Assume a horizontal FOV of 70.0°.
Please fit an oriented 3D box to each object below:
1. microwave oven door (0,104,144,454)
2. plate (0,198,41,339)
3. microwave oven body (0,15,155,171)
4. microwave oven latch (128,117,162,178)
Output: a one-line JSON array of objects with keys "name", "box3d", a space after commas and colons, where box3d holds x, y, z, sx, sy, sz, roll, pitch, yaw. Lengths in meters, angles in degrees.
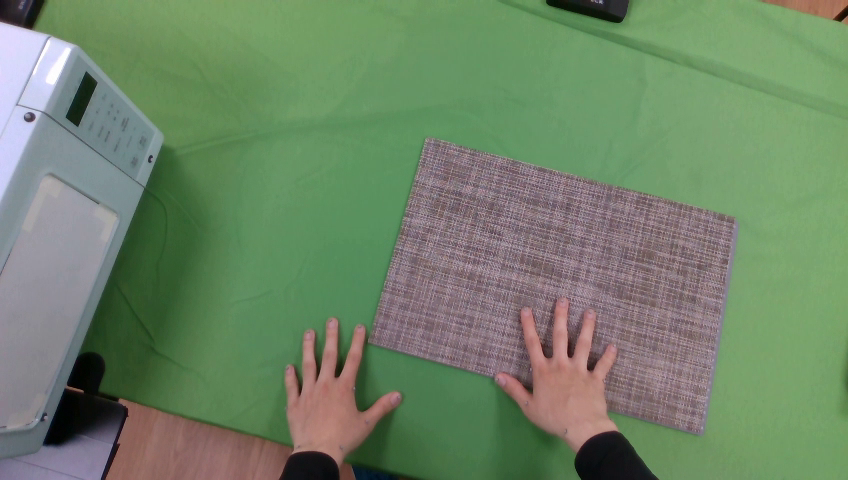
[{"name": "microwave oven door", "box3d": [-0.435, 0.059, 0.663, 0.039, 0.244, 0.354, 15, 78, 2]}, {"name": "plate", "box3d": [-0.562, 0.039, 0.726, 0.209, 0.038, 0.208, 1, 80, -3]}, {"name": "microwave oven body", "box3d": [-0.564, -0.019, 0.679, 0.326, 0.261, 0.440, 16, 79, 1]}, {"name": "microwave oven latch", "box3d": [-0.376, -0.125, 0.806, 0.030, 0.029, 0.079, 18, 79, 1]}]
